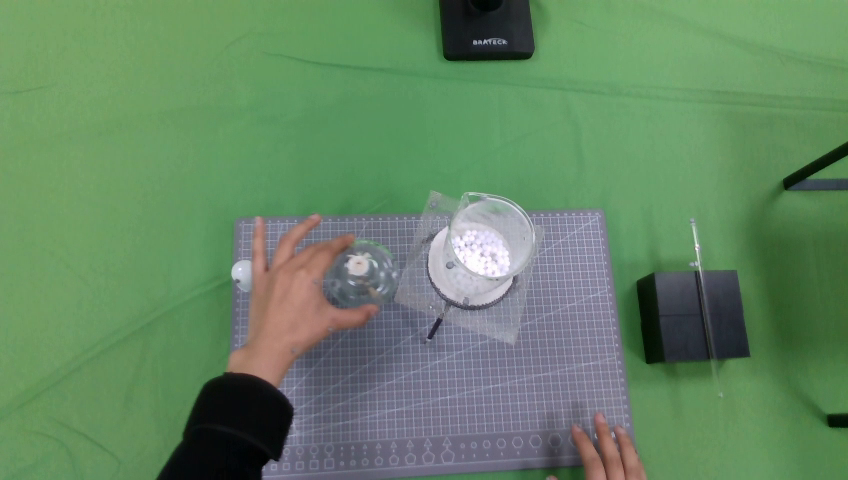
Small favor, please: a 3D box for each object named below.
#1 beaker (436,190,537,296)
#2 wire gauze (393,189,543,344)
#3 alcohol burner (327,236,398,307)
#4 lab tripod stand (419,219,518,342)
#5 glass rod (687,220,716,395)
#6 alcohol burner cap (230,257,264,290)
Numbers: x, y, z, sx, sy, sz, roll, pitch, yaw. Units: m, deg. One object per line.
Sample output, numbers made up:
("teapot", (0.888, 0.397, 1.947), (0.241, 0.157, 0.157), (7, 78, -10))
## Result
("beaker", (0.049, 0.007, 0.542), (0.074, 0.100, 0.083), (-25, 78, -12))
("wire gauze", (0.044, 0.023, 0.588), (0.125, 0.011, 0.121), (20, 76, -3))
("alcohol burner", (-0.066, 0.031, 0.643), (0.078, 0.119, 0.077), (1, 78, -2))
("lab tripod stand", (0.043, 0.038, 0.652), (0.148, 0.132, 0.147), (2, 73, -5))
("glass rod", (0.314, 0.073, 0.686), (0.008, 0.008, 0.198), (0, 76, -5))
("alcohol burner cap", (-0.199, 0.036, 0.677), (0.034, 0.048, 0.033), (1, 75, -3))
